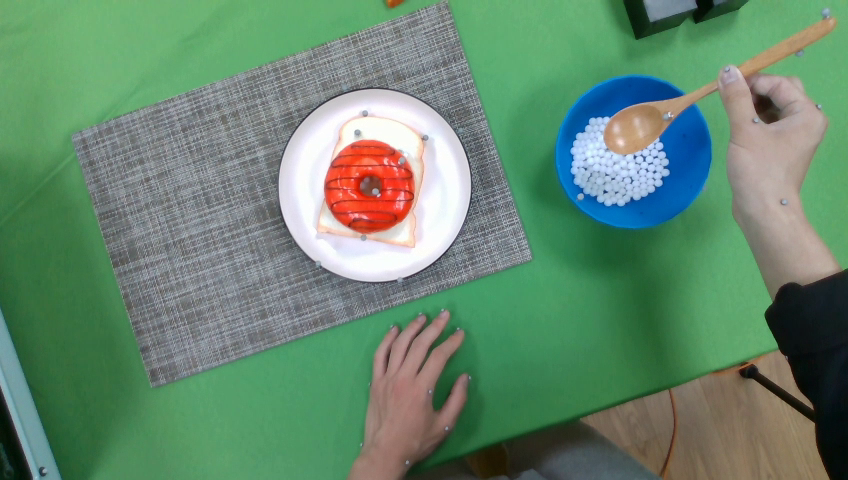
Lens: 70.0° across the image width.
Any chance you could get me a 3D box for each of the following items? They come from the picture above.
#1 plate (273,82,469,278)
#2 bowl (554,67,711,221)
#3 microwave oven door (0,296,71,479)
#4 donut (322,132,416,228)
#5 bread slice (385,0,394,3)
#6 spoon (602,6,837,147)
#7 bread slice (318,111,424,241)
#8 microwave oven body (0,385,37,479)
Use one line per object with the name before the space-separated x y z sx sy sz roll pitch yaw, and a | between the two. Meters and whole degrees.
plate | -0.056 -0.063 0.654 0.207 0.039 0.207 0 90 3
bowl | 0.204 -0.092 0.625 0.151 0.077 0.151 0 90 3
microwave oven door | -0.471 0.126 0.559 0.039 0.244 0.355 -21 89 3
donut | -0.056 -0.061 0.626 0.099 0.048 0.099 0 91 3
bread slice | -0.032 -0.343 0.665 0.105 0.019 0.131 -33 90 1
spoon | 0.240 -0.134 0.509 0.193 0.021 0.041 -27 90 37
bread slice | -0.055 -0.070 0.654 0.107 0.018 0.134 6 91 2
microwave oven body | -0.623 0.139 0.571 0.326 0.260 0.441 -21 90 2
